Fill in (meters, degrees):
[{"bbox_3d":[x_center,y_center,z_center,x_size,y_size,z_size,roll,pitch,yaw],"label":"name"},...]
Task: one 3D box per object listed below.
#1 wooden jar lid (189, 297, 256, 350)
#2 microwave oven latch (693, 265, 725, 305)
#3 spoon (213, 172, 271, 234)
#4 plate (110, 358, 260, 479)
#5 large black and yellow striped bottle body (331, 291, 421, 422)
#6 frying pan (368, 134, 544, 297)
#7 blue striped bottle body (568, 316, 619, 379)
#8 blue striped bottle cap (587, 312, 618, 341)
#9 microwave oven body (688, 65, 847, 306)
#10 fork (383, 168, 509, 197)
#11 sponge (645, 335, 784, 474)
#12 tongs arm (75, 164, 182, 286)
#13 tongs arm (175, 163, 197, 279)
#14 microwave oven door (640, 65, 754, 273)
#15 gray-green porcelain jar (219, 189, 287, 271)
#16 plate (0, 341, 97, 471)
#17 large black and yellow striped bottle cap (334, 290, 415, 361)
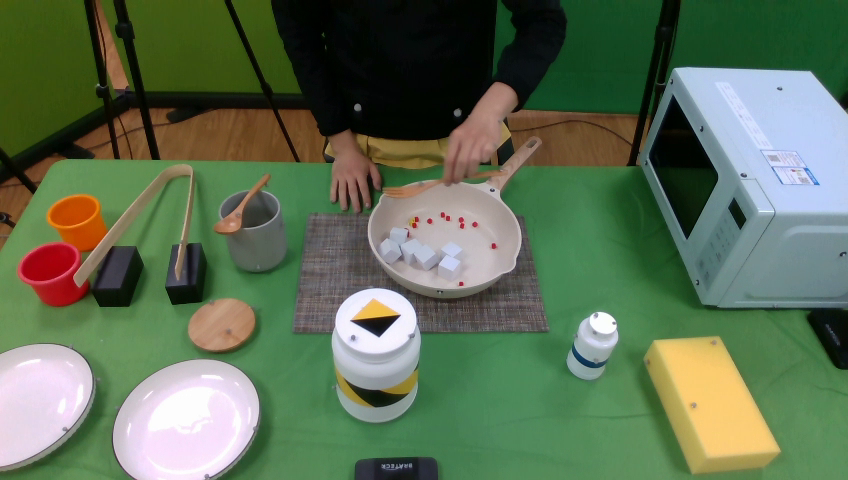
[{"bbox_3d":[-0.342,0.145,1.033,0.108,0.021,0.107,3,45,-2],"label":"wooden jar lid"},{"bbox_3d":[0.523,0.081,1.116,0.030,0.029,0.078,2,46,-1],"label":"microwave oven latch"},{"bbox_3d":[-0.312,-0.069,1.068,0.041,0.022,0.193,10,43,10],"label":"spoon"},{"bbox_3d":[-0.349,0.273,0.899,0.208,0.039,0.206,2,46,-2],"label":"plate"},{"bbox_3d":[-0.071,0.175,0.911,0.131,0.185,0.130,2,47,-2],"label":"large black and yellow striped bottle body"},{"bbox_3d":[0.104,-0.069,1.205,0.305,0.103,0.487,32,61,23],"label":"frying pan"},{"bbox_3d":[0.276,0.169,0.984,0.063,0.121,0.062,2,46,-2],"label":"blue striped bottle body"},{"bbox_3d":[0.279,0.134,0.947,0.044,0.021,0.044,2,45,-2],"label":"blue striped bottle cap"},{"bbox_3d":[0.669,-0.111,1.176,0.326,0.261,0.439,0,46,-3],"label":"microwave oven body"},{"bbox_3d":[0.037,-0.095,0.982,0.207,0.019,0.028,-12,41,-1],"label":"fork"},{"bbox_3d":[0.449,0.253,0.956,0.118,0.061,0.205,-4,46,-7],"label":"sponge"},{"bbox_3d":[-0.547,-0.043,1.143,0.028,0.028,0.385,-3,34,7],"label":"tongs arm"},{"bbox_3d":[-0.462,-0.049,1.149,0.051,0.026,0.382,-8,36,-7],"label":"tongs arm"},{"bbox_3d":[0.523,-0.147,1.193,0.039,0.245,0.353,0,47,-3],"label":"microwave oven door"},{"bbox_3d":[-0.309,-0.014,1.113,0.106,0.127,0.105,2,46,-2],"label":"gray-green porcelain jar"},{"bbox_3d":[-0.599,0.247,0.904,0.209,0.038,0.208,2,47,-2],"label":"plate"},{"bbox_3d":[-0.069,0.117,0.850,0.115,0.019,0.114,2,45,-2],"label":"large black and yellow striped bottle cap"}]
